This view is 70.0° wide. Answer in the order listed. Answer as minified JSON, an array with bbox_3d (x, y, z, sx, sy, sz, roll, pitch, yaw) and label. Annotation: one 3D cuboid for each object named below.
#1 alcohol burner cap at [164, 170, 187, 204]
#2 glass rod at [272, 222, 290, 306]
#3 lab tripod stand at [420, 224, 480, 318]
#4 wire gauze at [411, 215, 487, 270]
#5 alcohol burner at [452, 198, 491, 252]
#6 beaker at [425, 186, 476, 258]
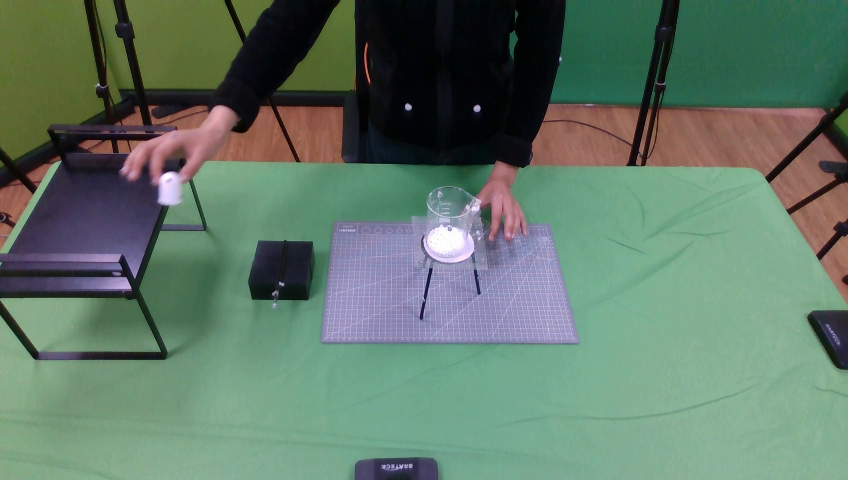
[{"bbox_3d":[-0.373,-0.082,0.913,0.034,0.048,0.033,12,30,-7],"label":"alcohol burner cap"},{"bbox_3d":[-0.255,0.039,1.084,0.008,0.008,0.198,1,46,-3],"label":"glass rod"},{"bbox_3d":[0.034,0.051,1.070,0.148,0.132,0.147,3,48,-3],"label":"lab tripod stand"},{"bbox_3d":[0.041,0.003,1.026,0.125,0.011,0.120,0,46,-1],"label":"wire gauze"},{"bbox_3d":[0.093,-0.033,1.170,0.078,0.120,0.077,2,44,-1],"label":"alcohol burner"},{"bbox_3d":[0.041,-0.028,0.989,0.084,0.101,0.073,-12,48,-15],"label":"beaker"}]
